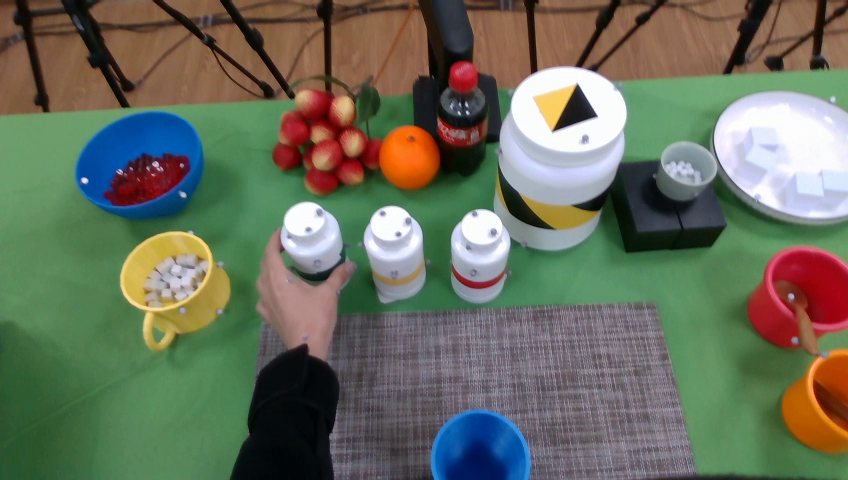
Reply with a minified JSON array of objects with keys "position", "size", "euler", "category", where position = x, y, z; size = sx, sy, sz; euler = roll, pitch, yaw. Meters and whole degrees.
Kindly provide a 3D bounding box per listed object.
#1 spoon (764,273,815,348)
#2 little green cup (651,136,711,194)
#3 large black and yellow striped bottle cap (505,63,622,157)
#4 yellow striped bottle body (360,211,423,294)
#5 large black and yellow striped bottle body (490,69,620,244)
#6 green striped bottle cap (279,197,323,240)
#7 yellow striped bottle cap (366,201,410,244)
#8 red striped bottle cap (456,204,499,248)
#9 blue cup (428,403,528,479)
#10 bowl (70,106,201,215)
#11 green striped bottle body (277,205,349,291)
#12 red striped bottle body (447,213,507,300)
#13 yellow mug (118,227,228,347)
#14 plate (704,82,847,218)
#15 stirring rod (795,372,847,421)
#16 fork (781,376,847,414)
[{"position":[0.369,0.066,0.606],"size":[0.041,0.022,0.194],"euler":[27,20,17],"category":"spoon"},{"position":[0.294,-0.084,0.699],"size":[0.061,0.039,0.061],"euler":[0,59,1],"category":"little green cup"},{"position":[0.140,-0.133,0.610],"size":[0.115,0.019,0.114],"euler":[-1,59,2],"category":"large black and yellow striped bottle cap"},{"position":[-0.035,0.007,0.669],"size":[0.063,0.121,0.062],"euler":[-1,60,3],"category":"yellow striped bottle body"},{"position":[0.144,-0.092,0.683],"size":[0.131,0.185,0.129],"euler":[-1,60,2],"category":"large black and yellow striped bottle body"},{"position":[-0.128,-0.023,0.630],"size":[0.044,0.020,0.044],"euler":[0,60,0],"category":"green striped bottle cap"},{"position":[-0.037,-0.019,0.625],"size":[0.044,0.019,0.044],"euler":[-1,61,1],"category":"yellow striped bottle cap"},{"position":[0.055,-0.015,0.618],"size":[0.044,0.018,0.044],"euler":[1,58,-1],"category":"red striped bottle cap"},{"position":[0.046,0.207,0.558],"size":[0.092,0.101,0.092],"euler":[0,59,0],"category":"blue cup"},{"position":[-0.346,-0.085,0.759],"size":[0.151,0.077,0.150],"euler":[-1,60,1],"category":"bowl"},{"position":[-0.124,0.004,0.675],"size":[0.063,0.120,0.062],"euler":[-1,60,3],"category":"green striped bottle body"},{"position":[0.059,0.012,0.663],"size":[0.063,0.121,0.062],"euler":[-3,58,5],"category":"red striped bottle body"},{"position":[-0.285,0.057,0.681],"size":[0.100,0.064,0.130],"euler":[6,61,5],"category":"yellow mug"},{"position":[0.459,-0.112,0.767],"size":[0.209,0.038,0.207],"euler":[-1,60,2],"category":"plate"},{"position":[0.396,0.166,0.553],"size":[0.014,0.006,0.175],"euler":[-1,17,-1],"category":"stirring rod"},{"position":[0.426,0.165,0.544],"size":[0.028,0.019,0.206],"euler":[-38,21,-18],"category":"fork"}]
